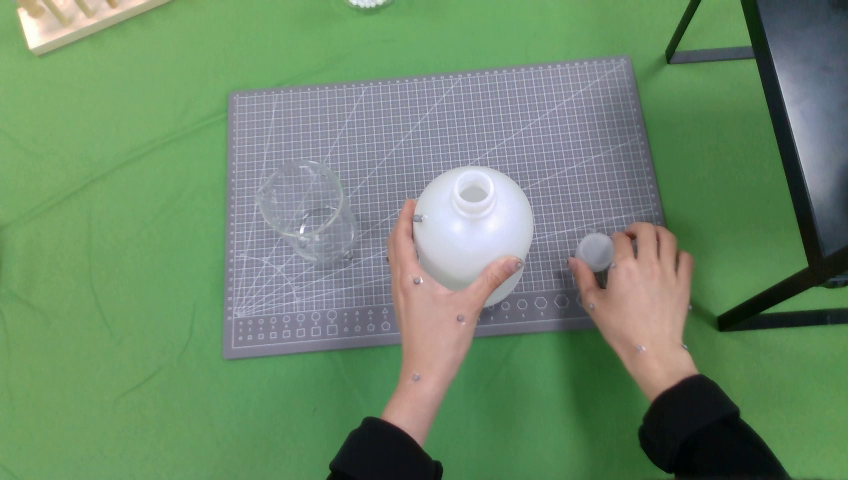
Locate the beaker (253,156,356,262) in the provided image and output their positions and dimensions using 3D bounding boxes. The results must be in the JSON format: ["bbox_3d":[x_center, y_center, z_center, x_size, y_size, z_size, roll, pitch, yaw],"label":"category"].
[{"bbox_3d":[-0.109,-0.025,0.581,0.084,0.101,0.073,5,72,5],"label":"beaker"}]

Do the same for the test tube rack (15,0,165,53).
[{"bbox_3d":[-0.365,-0.311,0.694,0.242,0.086,0.066,-25,72,-6],"label":"test tube rack"}]

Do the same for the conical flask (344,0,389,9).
[{"bbox_3d":[-0.070,-0.322,0.665,0.075,0.122,0.075,-1,71,3],"label":"conical flask"}]

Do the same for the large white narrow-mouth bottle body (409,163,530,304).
[{"bbox_3d":[0.039,-0.009,0.521,0.102,0.196,0.101,-1,73,4],"label":"large white narrow-mouth bottle body"}]

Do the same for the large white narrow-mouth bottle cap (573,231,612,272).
[{"bbox_3d":[0.167,0.012,0.598,0.038,0.024,0.037,-1,73,4],"label":"large white narrow-mouth bottle cap"}]
